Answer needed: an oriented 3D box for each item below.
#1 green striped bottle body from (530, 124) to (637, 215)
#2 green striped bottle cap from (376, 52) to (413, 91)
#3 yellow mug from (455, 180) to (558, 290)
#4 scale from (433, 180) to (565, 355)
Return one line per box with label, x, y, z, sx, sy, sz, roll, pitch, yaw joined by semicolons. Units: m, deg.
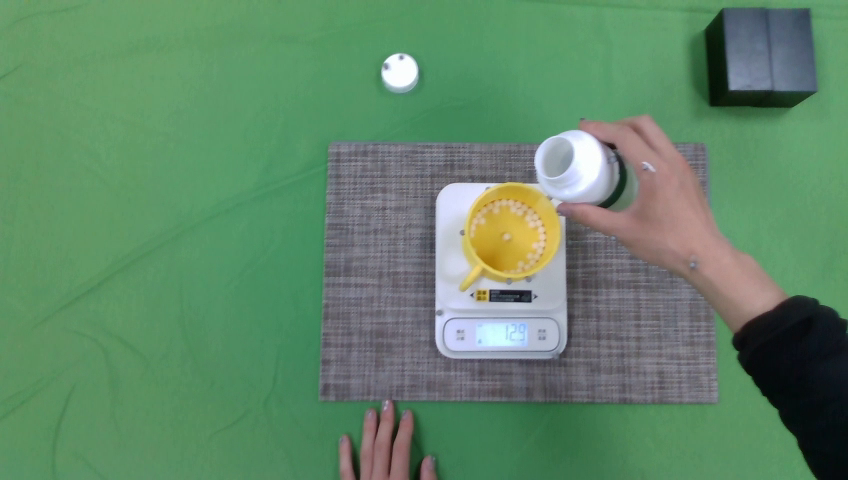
green striped bottle body;0.142;-0.064;0.551;0.063;0.120;0.063;-10;74;38
green striped bottle cap;-0.036;-0.205;0.736;0.044;0.020;0.044;0;85;1
yellow mug;0.077;0.003;0.647;0.100;0.064;0.131;40;85;5
scale;0.085;0.030;0.690;0.149;0.031;0.200;0;83;1
